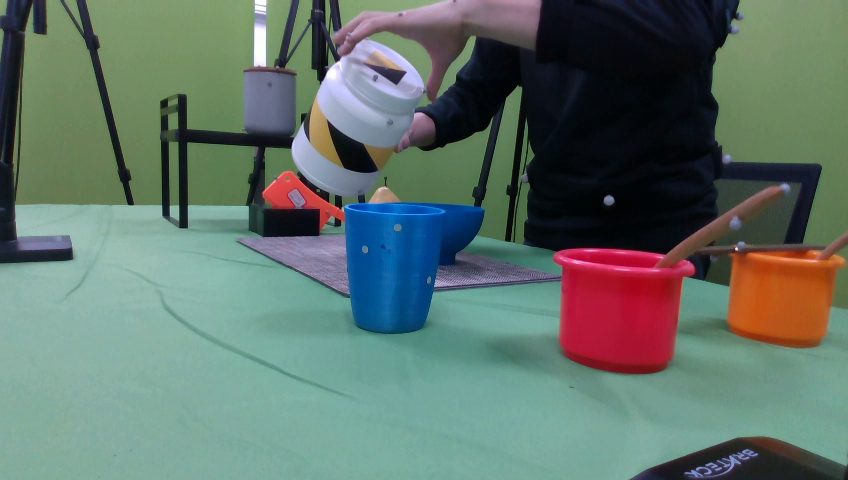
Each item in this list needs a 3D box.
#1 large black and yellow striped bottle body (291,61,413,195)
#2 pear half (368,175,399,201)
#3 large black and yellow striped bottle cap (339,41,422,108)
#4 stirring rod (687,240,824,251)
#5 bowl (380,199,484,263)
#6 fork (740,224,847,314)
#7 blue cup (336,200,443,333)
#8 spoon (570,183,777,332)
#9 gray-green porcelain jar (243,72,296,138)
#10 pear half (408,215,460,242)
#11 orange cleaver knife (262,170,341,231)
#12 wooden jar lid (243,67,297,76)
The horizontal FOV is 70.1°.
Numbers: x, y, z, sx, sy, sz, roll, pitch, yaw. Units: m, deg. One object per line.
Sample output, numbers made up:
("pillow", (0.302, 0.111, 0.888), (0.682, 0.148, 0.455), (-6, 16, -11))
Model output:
("large black and yellow striped bottle body", (-0.096, -0.167, 0.850), (0.131, 0.183, 0.130), (21, 41, -19))
("pear half", (-0.064, -0.061, 1.077), (0.055, 0.110, 0.077), (9, 13, 39))
("large black and yellow striped bottle cap", (-0.056, -0.219, 0.797), (0.115, 0.019, 0.114), (22, 40, -20))
("stirring rod", (0.289, 0.004, 0.525), (0.177, 0.006, 0.014), (-1, 6, -26))
("bowl", (0.007, -0.012, 0.842), (0.151, 0.077, 0.151), (3, 8, 0))
("fork", (0.323, 0.013, 0.485), (0.028, 0.018, 0.207), (9, -38, -5))
("blue cup", (-0.029, 0.021, 0.508), (0.093, 0.100, 0.092), (3, 9, 0))
("spoon", (0.161, 0.020, 0.413), (0.042, 0.021, 0.193), (0, -36, -24))
("gray-green porcelain jar", (-0.322, -0.279, 1.263), (0.106, 0.126, 0.106), (3, 8, 0))
("pear half", (0.011, -0.019, 0.848), (0.070, 0.031, 0.088), (4, 10, 33))
("orange cleaver knife", (-0.201, -0.057, 1.136), (0.212, 0.077, 0.012), (31, -4, -31))
("wooden jar lid", (-0.319, -0.342, 1.254), (0.108, 0.020, 0.108), (3, 8, 0))
